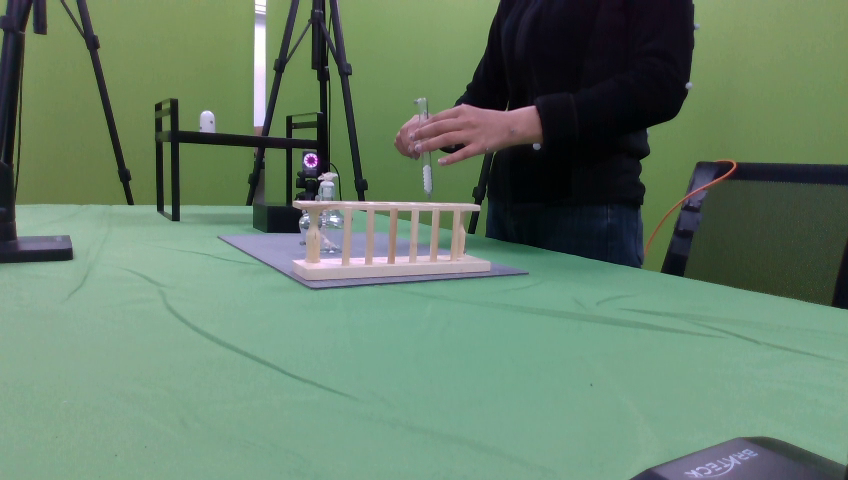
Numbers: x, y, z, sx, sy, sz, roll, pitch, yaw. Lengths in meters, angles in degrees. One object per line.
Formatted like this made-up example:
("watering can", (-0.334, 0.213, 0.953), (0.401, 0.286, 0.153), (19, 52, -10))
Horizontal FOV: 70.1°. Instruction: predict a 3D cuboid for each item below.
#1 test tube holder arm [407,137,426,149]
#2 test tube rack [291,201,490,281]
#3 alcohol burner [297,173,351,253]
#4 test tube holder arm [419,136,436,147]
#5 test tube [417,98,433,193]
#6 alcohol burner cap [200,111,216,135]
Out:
("test tube holder arm", (-0.015, -0.163, 1.016), (0.013, 0.015, 0.178), (0, 6, -10))
("test tube rack", (-0.035, -0.002, 0.745), (0.243, 0.085, 0.066), (-1, 8, -28))
("alcohol burner", (-0.146, -0.040, 0.894), (0.078, 0.119, 0.078), (5, 7, 0))
("test tube holder arm", (0.001, -0.158, 0.974), (0.010, 0.015, 0.087), (-2, 7, -18))
("test tube", (0.002, -0.148, 0.951), (0.017, 0.150, 0.017), (-4, 3, 1))
("alcohol burner cap", (-0.448, -0.243, 1.255), (0.034, 0.048, 0.034), (2, 7, 0))
